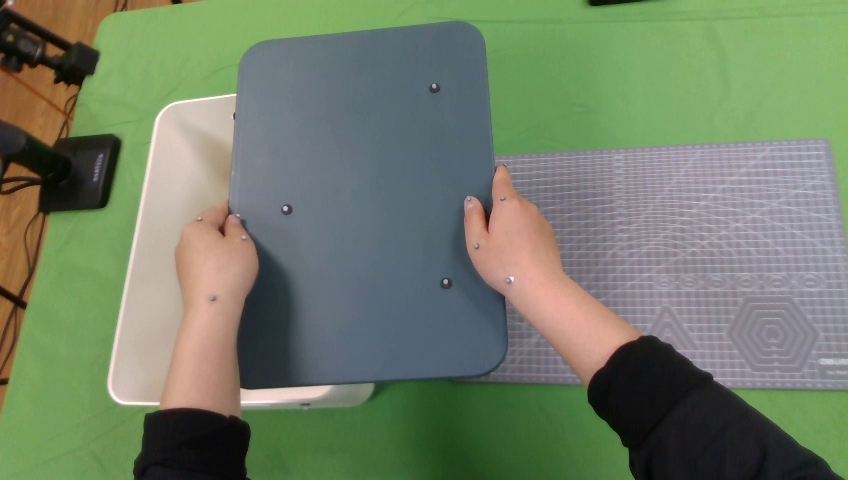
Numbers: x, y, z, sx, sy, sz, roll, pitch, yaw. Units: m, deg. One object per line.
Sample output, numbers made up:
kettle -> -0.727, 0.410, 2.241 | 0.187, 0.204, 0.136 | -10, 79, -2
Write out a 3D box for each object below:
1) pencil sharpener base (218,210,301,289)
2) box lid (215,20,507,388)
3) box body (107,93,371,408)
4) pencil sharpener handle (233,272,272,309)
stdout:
pencil sharpener base -> -0.203, 0.018, 0.760 | 0.061, 0.108, 0.076 | -4, 70, 10
box lid -> -0.063, -0.051, 0.586 | 0.263, 0.015, 0.369 | -4, 71, 5
box body -> -0.195, 0.019, 0.736 | 0.254, 0.161, 0.361 | -4, 70, 10
pencil sharpener handle -> -0.204, 0.062, 0.732 | 0.036, 0.068, 0.030 | -6, 70, 16
